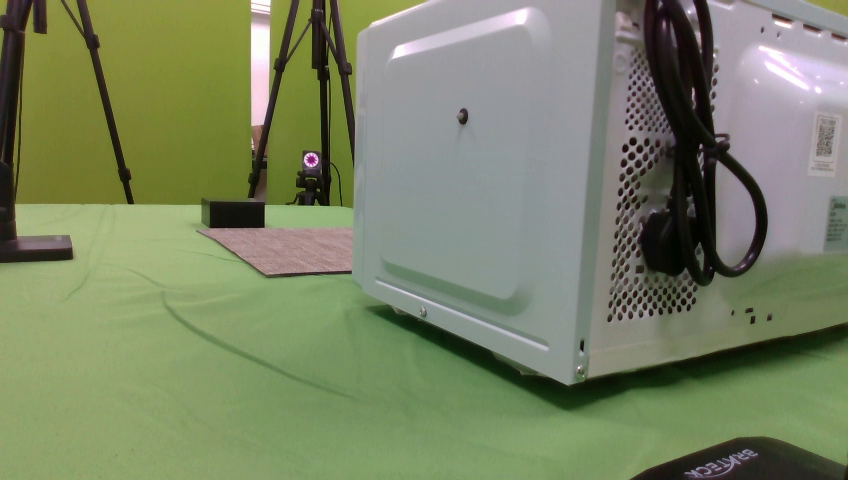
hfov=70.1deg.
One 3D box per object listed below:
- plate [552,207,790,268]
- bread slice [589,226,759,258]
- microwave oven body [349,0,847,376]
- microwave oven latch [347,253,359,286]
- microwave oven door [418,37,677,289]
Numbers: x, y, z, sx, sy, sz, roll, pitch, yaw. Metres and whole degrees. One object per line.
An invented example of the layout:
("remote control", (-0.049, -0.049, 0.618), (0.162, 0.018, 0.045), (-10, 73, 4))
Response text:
("plate", (0.225, -0.004, 0.572), (0.209, 0.038, 0.209), (4, 7, 0))
("bread slice", (0.226, 0.001, 0.568), (0.132, 0.019, 0.104), (3, 5, -23))
("microwave oven body", (0.199, -0.053, 0.540), (0.444, 0.260, 0.324), (-1, 7, -32))
("microwave oven latch", (-0.034, 0.028, 0.581), (0.079, 0.029, 0.030), (-1, 7, -32))
("microwave oven door", (0.158, -0.078, 0.684), (0.358, 0.243, 0.039), (-2, 9, -32))
